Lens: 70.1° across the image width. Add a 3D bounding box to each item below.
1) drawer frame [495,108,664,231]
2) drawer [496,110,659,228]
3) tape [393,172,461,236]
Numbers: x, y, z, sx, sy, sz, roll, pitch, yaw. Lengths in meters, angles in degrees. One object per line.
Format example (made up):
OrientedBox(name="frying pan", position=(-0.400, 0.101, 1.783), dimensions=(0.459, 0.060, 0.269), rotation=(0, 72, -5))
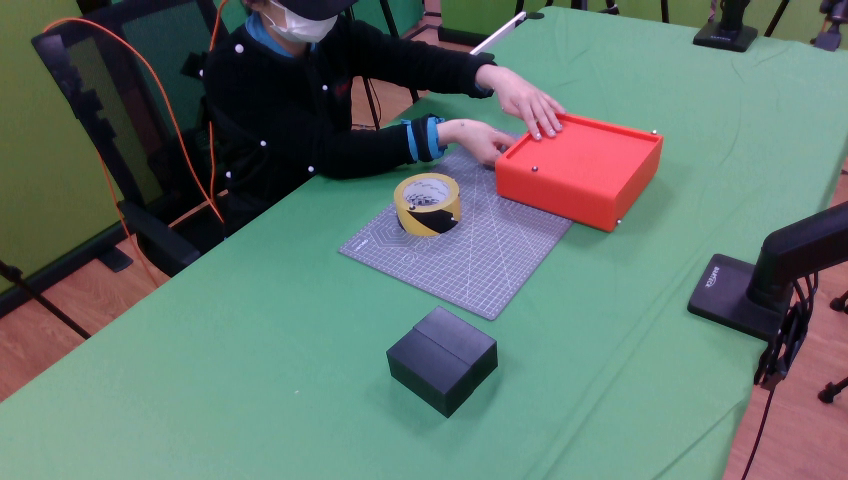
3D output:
OrientedBox(name="drawer frame", position=(0.262, -0.127, 1.028), dimensions=(0.212, 0.083, 0.202), rotation=(22, 48, 29))
OrientedBox(name="drawer", position=(0.259, -0.127, 1.029), dimensions=(0.210, 0.073, 0.195), rotation=(23, 48, 30))
OrientedBox(name="tape", position=(0.005, -0.061, 1.012), dimensions=(0.117, 0.053, 0.116), rotation=(-4, 40, 4))
